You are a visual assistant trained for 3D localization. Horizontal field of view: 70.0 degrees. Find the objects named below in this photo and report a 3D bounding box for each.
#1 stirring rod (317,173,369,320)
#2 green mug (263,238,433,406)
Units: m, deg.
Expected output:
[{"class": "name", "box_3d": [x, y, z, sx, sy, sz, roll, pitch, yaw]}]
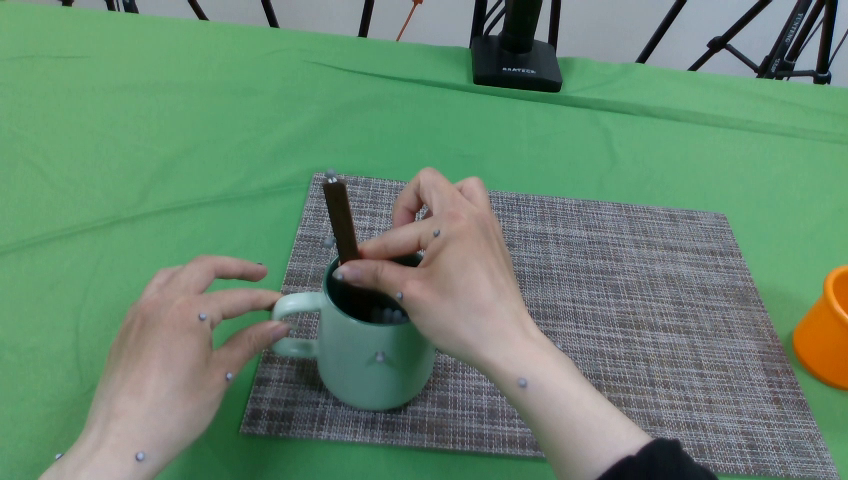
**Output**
[{"class": "stirring rod", "box_3d": [-0.051, 0.023, 0.412, 0.014, 0.178, 0.005, -6, 48, -1]}, {"class": "green mug", "box_3d": [-0.054, 0.062, 0.446, 0.125, 0.106, 0.091, -2, 46, -10]}]
